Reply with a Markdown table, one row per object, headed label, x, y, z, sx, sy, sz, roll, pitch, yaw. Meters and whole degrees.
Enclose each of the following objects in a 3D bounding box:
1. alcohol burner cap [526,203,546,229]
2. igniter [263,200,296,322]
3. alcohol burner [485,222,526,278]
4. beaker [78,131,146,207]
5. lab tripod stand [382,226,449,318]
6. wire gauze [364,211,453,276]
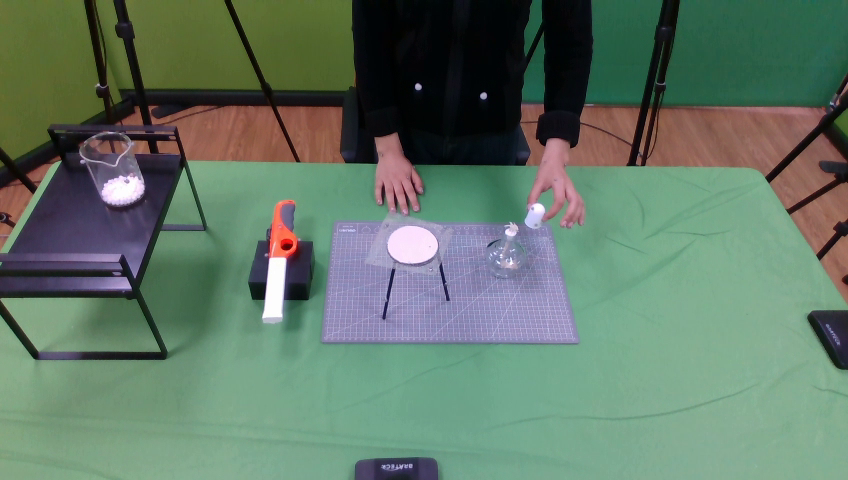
| label | x | y | z | sx | sy | sz | roll | pitch | yaw |
| --- | --- | --- | --- | --- | --- | --- | --- | --- | --- |
| alcohol burner cap | 0.209 | -0.047 | 1.118 | 0.034 | 0.048 | 0.033 | 2 | 51 | -2 |
| igniter | -0.260 | 0.027 | 1.083 | 0.057 | 0.025 | 0.274 | 0 | 49 | -8 |
| alcohol burner | 0.154 | 0.014 | 1.129 | 0.078 | 0.119 | 0.077 | 3 | 44 | -2 |
| beaker | -0.488 | -0.108 | 0.961 | 0.074 | 0.101 | 0.083 | -25 | 54 | -25 |
| lab tripod stand | -0.024 | 0.055 | 1.062 | 0.148 | 0.132 | 0.147 | 2 | 48 | -2 |
| wire gauze | -0.024 | 0.006 | 1.016 | 0.121 | 0.011 | 0.124 | 14 | 48 | 9 |
